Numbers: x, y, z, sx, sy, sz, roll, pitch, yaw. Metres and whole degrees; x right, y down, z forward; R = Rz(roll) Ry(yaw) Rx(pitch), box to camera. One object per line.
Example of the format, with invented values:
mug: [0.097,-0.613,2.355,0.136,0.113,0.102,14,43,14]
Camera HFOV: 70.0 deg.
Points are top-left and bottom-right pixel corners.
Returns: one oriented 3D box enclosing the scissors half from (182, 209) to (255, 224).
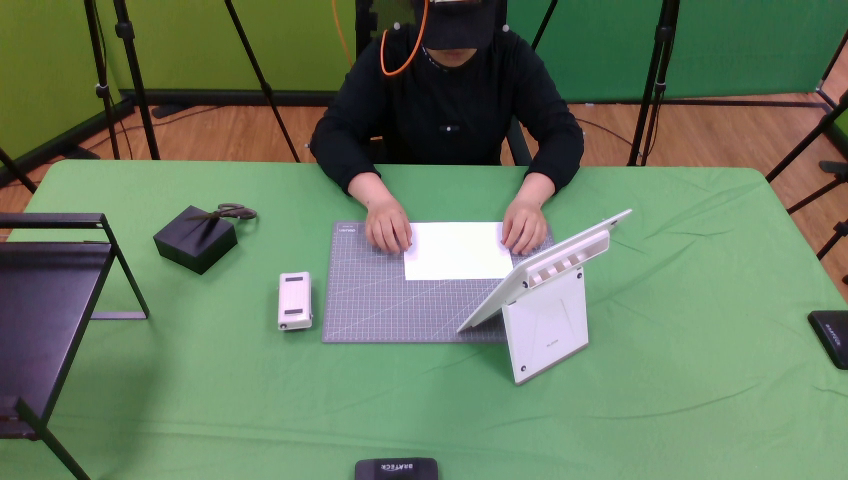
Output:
scissors half: [-0.389,-0.042,1.158,0.040,0.013,0.175,39,21,22]

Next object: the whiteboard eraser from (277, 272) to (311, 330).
whiteboard eraser: [-0.228,0.108,1.062,0.056,0.042,0.112,-3,46,-10]

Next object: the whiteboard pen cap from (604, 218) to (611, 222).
whiteboard pen cap: [0.379,-0.031,1.255,0.033,0.018,0.018,-33,57,-29]

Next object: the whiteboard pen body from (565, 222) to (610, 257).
whiteboard pen body: [0.335,-0.004,1.228,0.141,0.017,0.017,-32,56,-29]

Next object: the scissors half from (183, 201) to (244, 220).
scissors half: [-0.405,-0.054,1.163,0.040,0.013,0.175,28,18,8]

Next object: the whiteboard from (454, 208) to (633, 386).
whiteboard: [0.211,0.111,0.954,0.217,0.306,0.143,-22,72,-24]
